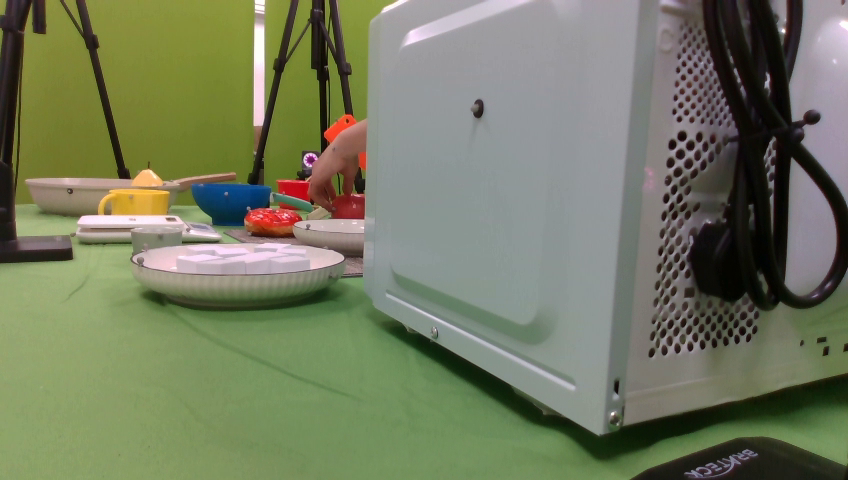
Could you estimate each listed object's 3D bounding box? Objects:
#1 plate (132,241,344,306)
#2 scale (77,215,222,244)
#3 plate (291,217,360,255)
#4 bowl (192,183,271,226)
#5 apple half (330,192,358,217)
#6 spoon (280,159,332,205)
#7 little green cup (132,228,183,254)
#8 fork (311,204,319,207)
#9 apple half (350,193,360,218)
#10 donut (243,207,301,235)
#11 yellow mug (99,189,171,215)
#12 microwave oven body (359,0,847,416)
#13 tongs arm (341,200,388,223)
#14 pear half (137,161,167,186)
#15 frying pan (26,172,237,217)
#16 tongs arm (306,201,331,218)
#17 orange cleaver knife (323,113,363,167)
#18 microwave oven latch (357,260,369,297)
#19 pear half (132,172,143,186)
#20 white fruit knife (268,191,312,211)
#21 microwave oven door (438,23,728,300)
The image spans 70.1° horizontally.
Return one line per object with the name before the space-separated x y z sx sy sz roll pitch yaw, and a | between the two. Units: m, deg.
plate | -0.187 0.033 0.625 0.208 0.039 0.207 2 8 0
scale | -0.434 -0.019 0.963 0.202 0.031 0.148 -1 9 -27
plate | -0.098 -0.007 0.928 0.209 0.038 0.209 2 8 0
bowl | -0.382 -0.071 1.202 0.151 0.077 0.151 3 7 0
apple half | -0.150 -0.054 1.141 0.053 0.074 0.081 0 11 14
spoon | -0.316 -0.159 1.640 0.194 0.022 0.041 -50 32 -20
little green cup | -0.342 0.006 0.779 0.061 0.038 0.061 2 8 0
fork | -0.356 -0.105 1.526 0.208 0.018 0.028 16 -6 -41
apple half | -0.111 -0.053 1.132 0.033 0.081 0.081 -1 6 16
donut | -0.261 -0.032 1.043 0.099 0.048 0.099 4 9 0
yellow mug | -0.518 -0.055 1.080 0.099 0.064 0.131 7 9 26
microwave oven body | 0.211 -0.047 0.474 0.444 0.260 0.324 -1 8 -28
tongs arm | -0.149 -0.070 1.429 0.051 0.026 0.383 -4 8 -15
pear half | -0.602 -0.120 1.354 0.056 0.110 0.076 4 11 6
frying pan | -0.624 -0.118 1.387 0.305 0.102 0.490 8 17 32
tongs arm | -0.234 -0.068 1.414 0.028 0.028 0.387 -5 7 1
orange cleaver knife | -0.104 -0.178 1.233 0.212 0.077 0.012 33 8 -15
microwave oven latch | -0.019 0.033 0.530 0.079 0.029 0.030 -1 7 -26
pear half | -0.638 -0.113 1.361 0.031 0.088 0.070 5 10 4
white fruit knife | -0.364 -0.105 1.464 0.208 0.027 0.016 15 0 -34
microwave oven door | 0.181 -0.073 0.621 0.358 0.243 0.039 -2 8 -29
